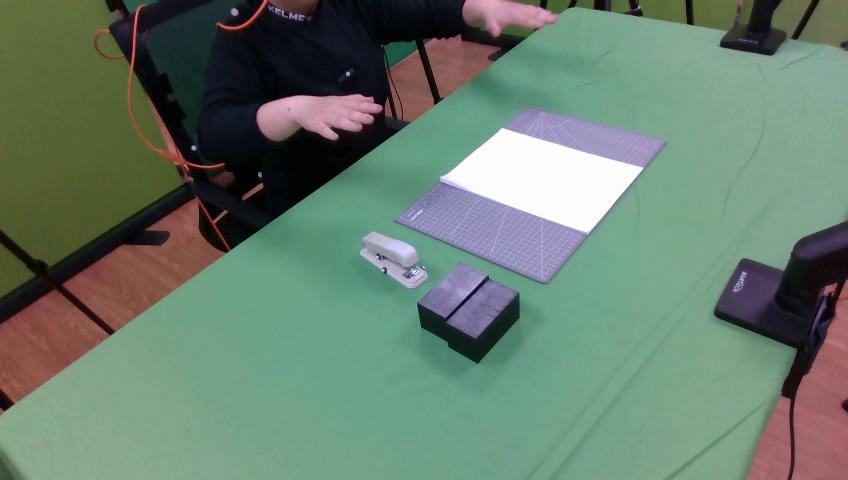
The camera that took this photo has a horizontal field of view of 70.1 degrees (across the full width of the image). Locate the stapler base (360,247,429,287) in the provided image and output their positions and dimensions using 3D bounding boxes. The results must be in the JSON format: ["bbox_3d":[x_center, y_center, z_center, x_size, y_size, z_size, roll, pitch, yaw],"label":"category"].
[{"bbox_3d":[-0.048,0.031,0.948,0.041,0.024,0.129,-34,45,-31],"label":"stapler base"}]

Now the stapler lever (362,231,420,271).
[{"bbox_3d":[-0.052,0.011,0.933,0.027,0.040,0.117,-34,45,-31],"label":"stapler lever"}]
